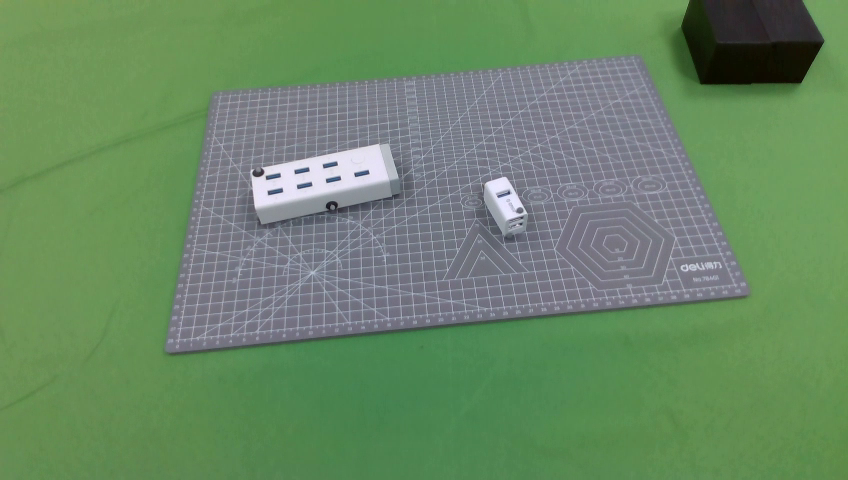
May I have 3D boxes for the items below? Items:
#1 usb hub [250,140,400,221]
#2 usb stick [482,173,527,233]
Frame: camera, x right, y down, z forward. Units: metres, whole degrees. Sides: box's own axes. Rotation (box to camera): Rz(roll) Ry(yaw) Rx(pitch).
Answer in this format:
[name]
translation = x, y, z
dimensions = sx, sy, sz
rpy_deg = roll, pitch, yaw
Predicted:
[usb hub]
translation = -0.088, -0.055, 0.536
dimensions = 0.125, 0.025, 0.049
rpy_deg = -12, 54, -7
[usb stick]
translation = 0.065, -0.036, 0.514
dimensions = 0.021, 0.027, 0.058
rpy_deg = -19, 53, -8
